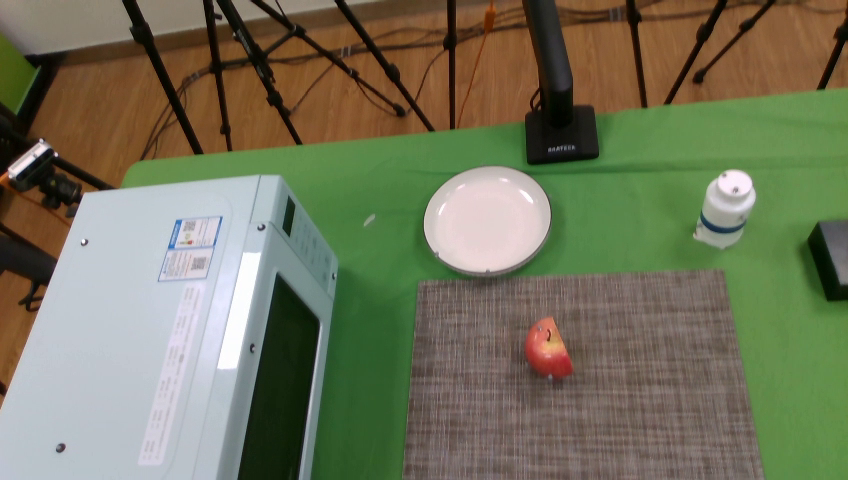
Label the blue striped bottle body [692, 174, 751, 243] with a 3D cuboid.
[{"bbox_3d":[0.421,-0.052,0.856,0.063,0.122,0.062,-6,58,11],"label":"blue striped bottle body"}]

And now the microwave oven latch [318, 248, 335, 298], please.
[{"bbox_3d":[-0.160,0.053,0.967,0.030,0.030,0.078,-4,60,11],"label":"microwave oven latch"}]

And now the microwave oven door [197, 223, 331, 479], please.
[{"bbox_3d":[-0.191,0.189,0.772,0.039,0.246,0.352,-5,59,11],"label":"microwave oven door"}]

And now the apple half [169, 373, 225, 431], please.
[{"bbox_3d":[-0.313,0.220,0.823,0.081,0.033,0.081,-2,73,7],"label":"apple half"}]

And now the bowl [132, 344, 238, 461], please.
[{"bbox_3d":[-0.310,0.226,0.832,0.151,0.077,0.150,-7,67,17],"label":"bowl"}]

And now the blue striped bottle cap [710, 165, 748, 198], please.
[{"bbox_3d":[0.410,-0.078,0.814,0.044,0.021,0.044,-6,61,11],"label":"blue striped bottle cap"}]

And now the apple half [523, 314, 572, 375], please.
[{"bbox_3d":[0.163,0.148,0.826,0.053,0.075,0.080,-22,61,5],"label":"apple half"}]

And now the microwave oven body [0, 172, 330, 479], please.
[{"bbox_3d":[-0.332,0.168,0.825,0.325,0.263,0.437,-5,60,11],"label":"microwave oven body"}]

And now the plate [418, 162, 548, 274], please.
[{"bbox_3d":[0.095,-0.033,0.977,0.207,0.039,0.205,-6,59,10],"label":"plate"}]
